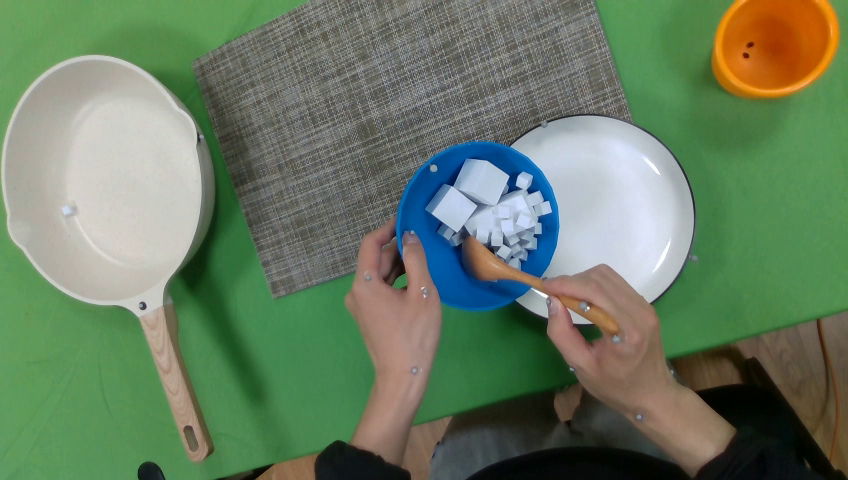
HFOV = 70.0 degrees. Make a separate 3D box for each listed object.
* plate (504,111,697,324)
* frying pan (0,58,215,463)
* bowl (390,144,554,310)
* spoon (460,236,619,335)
[{"bbox_3d":[0.157,-0.021,0.602,0.207,0.039,0.208,2,99,16],"label":"plate"},{"bbox_3d":[-0.342,0.029,0.723,0.306,0.103,0.486,-24,81,18],"label":"frying pan"},{"bbox_3d":[0.037,-0.018,0.568,0.152,0.076,0.152,-3,106,-12],"label":"bowl"},{"bbox_3d":[0.086,0.035,0.501,0.192,0.022,0.042,23,125,51],"label":"spoon"}]
